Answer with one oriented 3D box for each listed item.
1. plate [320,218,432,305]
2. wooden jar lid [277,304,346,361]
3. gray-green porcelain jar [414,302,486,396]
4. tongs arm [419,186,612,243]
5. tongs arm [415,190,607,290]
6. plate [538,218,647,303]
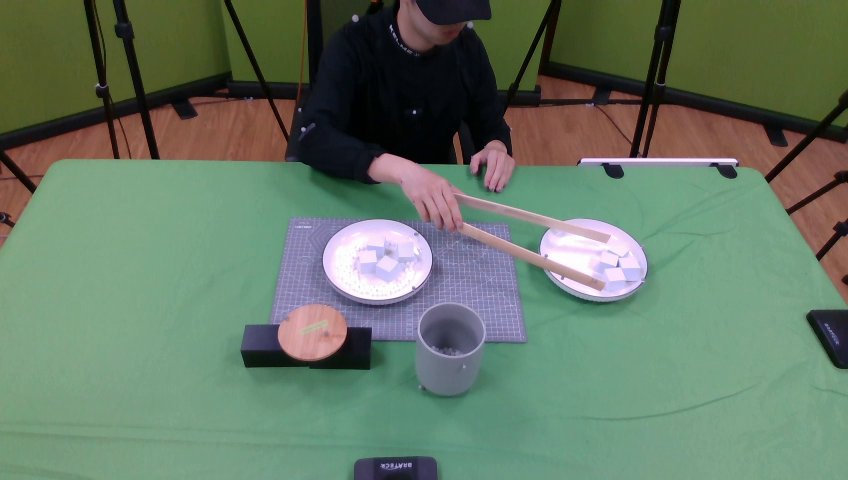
[{"bbox_3d":[-0.088,0.044,1.134,0.209,0.038,0.208,3,46,-3],"label":"plate"},{"bbox_3d":[-0.179,0.150,0.972,0.108,0.021,0.107,2,45,-2],"label":"wooden jar lid"},{"bbox_3d":[0.038,0.177,0.958,0.106,0.127,0.105,2,46,-2],"label":"gray-green porcelain jar"},{"bbox_3d":[0.178,-0.048,1.186,0.388,0.028,0.028,14,49,-1],"label":"tongs arm"},{"bbox_3d":[0.156,-0.001,1.132,0.384,0.026,0.050,22,46,8],"label":"tongs arm"},{"bbox_3d":[0.322,0.043,1.171,0.208,0.039,0.206,2,46,-2],"label":"plate"}]
